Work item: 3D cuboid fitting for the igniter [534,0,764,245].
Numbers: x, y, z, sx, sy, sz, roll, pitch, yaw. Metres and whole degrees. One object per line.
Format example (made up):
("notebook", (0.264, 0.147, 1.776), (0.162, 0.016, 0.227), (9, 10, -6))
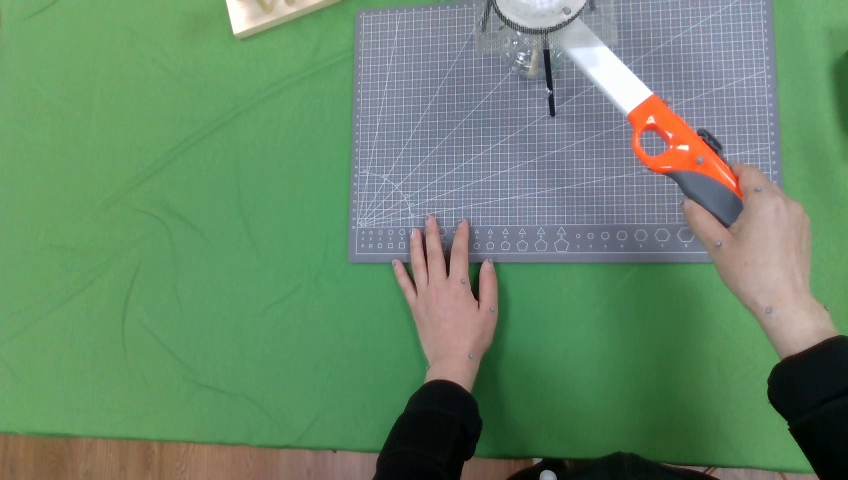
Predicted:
("igniter", (0.193, -0.110, 0.531), (0.057, 0.025, 0.274), (-39, 73, 8))

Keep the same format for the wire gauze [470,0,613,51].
("wire gauze", (0.102, -0.228, 0.538), (0.125, 0.011, 0.121), (-1, 86, 8))

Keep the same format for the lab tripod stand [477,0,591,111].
("lab tripod stand", (0.115, -0.218, 0.602), (0.148, 0.132, 0.148), (-1, 83, 10))

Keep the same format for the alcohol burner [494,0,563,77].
("alcohol burner", (0.109, -0.214, 0.613), (0.078, 0.119, 0.077), (-1, 82, 9))

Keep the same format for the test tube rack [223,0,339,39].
("test tube rack", (-0.133, -0.319, 0.691), (0.242, 0.085, 0.066), (-18, 79, 8))

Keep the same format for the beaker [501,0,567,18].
("beaker", (0.088, -0.235, 0.492), (0.083, 0.101, 0.074), (13, 86, 13))

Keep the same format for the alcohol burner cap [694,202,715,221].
("alcohol burner cap", (0.287, -0.038, 0.592), (0.034, 0.048, 0.034), (-1, 82, 10))
